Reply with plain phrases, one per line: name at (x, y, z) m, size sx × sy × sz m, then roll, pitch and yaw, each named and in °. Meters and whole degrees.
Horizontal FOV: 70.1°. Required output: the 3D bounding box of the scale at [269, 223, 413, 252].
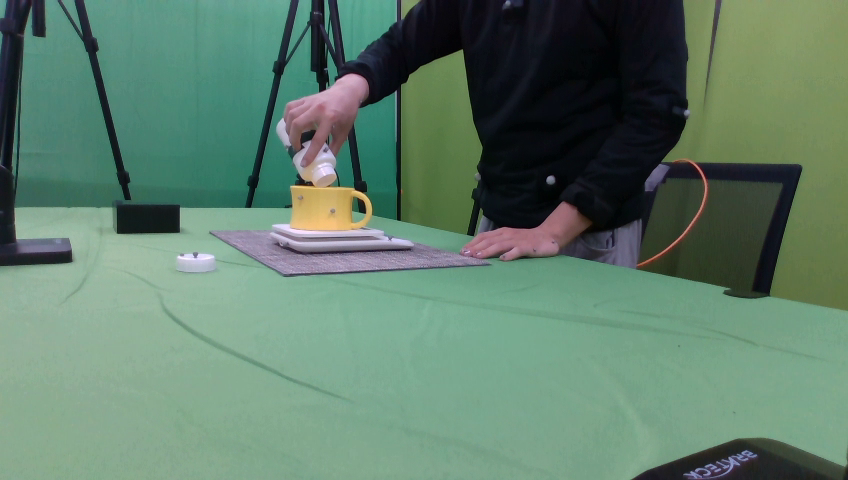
scale at (-0.132, -0.007, 0.965) m, size 0.202 × 0.031 × 0.148 m, roll -2°, pitch 8°, yaw -31°

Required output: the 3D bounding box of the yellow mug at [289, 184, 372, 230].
yellow mug at (-0.145, -0.052, 0.944) m, size 0.131 × 0.064 × 0.100 m, roll 4°, pitch 7°, yaw 9°

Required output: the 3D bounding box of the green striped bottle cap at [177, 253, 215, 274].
green striped bottle cap at (-0.279, 0.028, 0.741) m, size 0.044 × 0.020 × 0.044 m, roll 5°, pitch 6°, yaw 0°

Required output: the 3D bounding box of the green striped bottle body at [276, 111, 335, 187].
green striped bottle body at (-0.188, -0.144, 0.981) m, size 0.063 × 0.119 × 0.063 m, roll -29°, pitch -17°, yaw -9°
